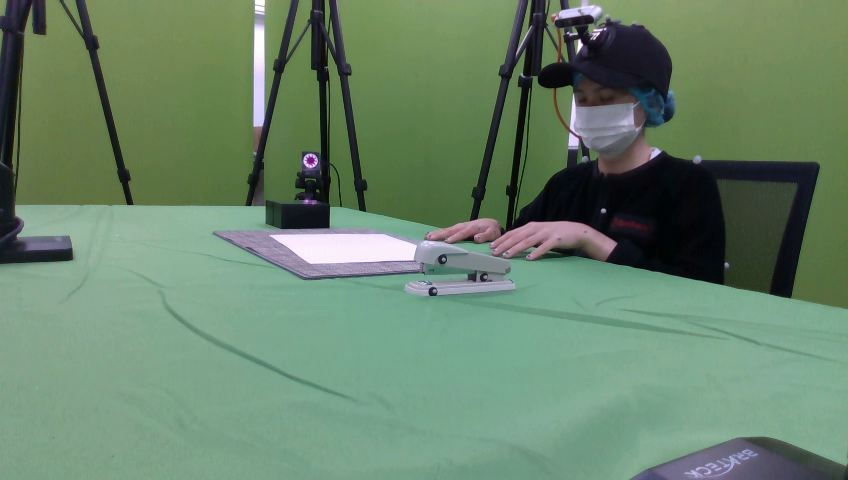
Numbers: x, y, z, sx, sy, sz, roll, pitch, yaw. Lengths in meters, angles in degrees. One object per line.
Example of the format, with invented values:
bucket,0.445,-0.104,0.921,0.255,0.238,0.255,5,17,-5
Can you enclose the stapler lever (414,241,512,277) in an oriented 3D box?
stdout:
stapler lever,0.044,0.021,0.667,0.119,0.040,0.026,0,9,-29

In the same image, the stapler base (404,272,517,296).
stapler base,0.041,0.045,0.669,0.131,0.024,0.041,1,9,-29
